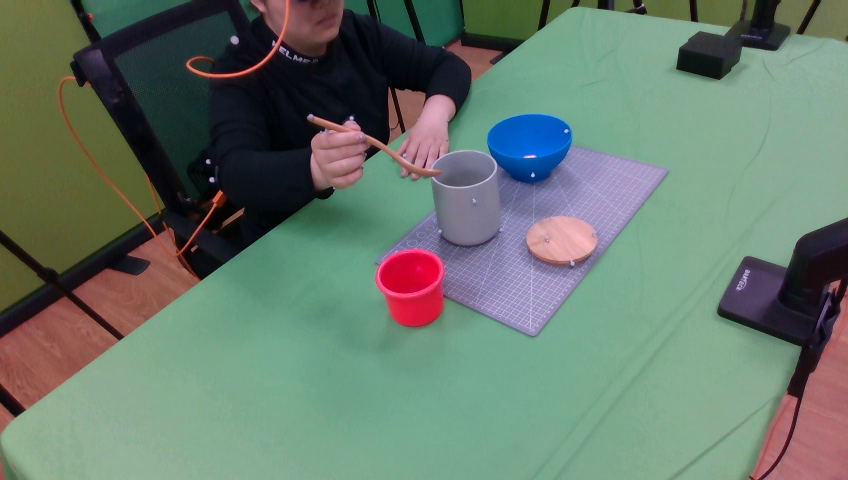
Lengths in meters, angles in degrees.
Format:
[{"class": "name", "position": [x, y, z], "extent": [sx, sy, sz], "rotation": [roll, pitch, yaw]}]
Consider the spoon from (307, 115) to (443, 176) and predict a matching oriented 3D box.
[{"class": "spoon", "position": [-0.063, -0.125, 0.802], "extent": [0.195, 0.021, 0.041], "rotation": [25, 5, -19]}]

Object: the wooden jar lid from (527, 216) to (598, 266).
[{"class": "wooden jar lid", "position": [0.214, 0.003, 0.937], "extent": [0.108, 0.021, 0.108], "rotation": [-4, 40, 4]}]

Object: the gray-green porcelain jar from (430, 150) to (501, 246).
[{"class": "gray-green porcelain jar", "position": [0.069, -0.062, 0.959], "extent": [0.106, 0.127, 0.105], "rotation": [-6, 40, 5]}]

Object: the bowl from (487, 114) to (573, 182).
[{"class": "bowl", "position": [0.190, -0.156, 1.085], "extent": [0.151, 0.077, 0.150], "rotation": [-5, 40, 5]}]
